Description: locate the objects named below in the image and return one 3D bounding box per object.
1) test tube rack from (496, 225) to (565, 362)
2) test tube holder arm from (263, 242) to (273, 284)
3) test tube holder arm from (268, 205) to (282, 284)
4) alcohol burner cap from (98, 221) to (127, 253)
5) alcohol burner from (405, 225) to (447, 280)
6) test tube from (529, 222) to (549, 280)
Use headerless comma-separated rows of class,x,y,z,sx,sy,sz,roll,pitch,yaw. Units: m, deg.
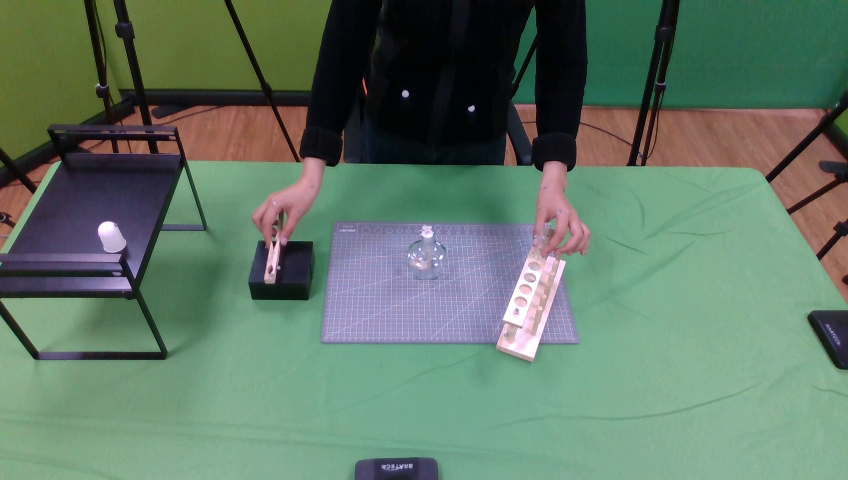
test tube rack,0.200,0.089,1.080,0.066,0.085,0.241,19,48,13
test tube holder arm,-0.272,0.039,1.067,0.010,0.015,0.087,-1,49,-1
test tube holder arm,-0.268,0.005,1.096,0.013,0.015,0.177,-2,49,-2
alcohol burner cap,-0.468,-0.007,0.905,0.034,0.048,0.033,3,46,-3
alcohol burner,0.004,0.017,1.115,0.078,0.120,0.077,1,47,-1
test tube,0.202,0.023,1.075,0.017,0.151,0.017,0,49,0
